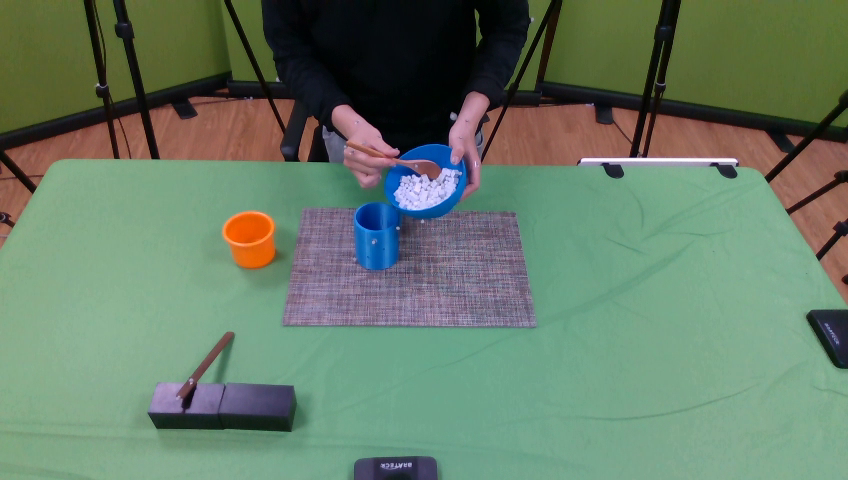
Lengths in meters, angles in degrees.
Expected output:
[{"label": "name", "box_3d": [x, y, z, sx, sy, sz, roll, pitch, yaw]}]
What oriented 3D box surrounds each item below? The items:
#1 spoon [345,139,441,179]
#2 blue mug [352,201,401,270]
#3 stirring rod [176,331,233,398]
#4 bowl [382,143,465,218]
[{"label": "spoon", "box_3d": [-0.051, -0.142, 1.053, 0.194, 0.041, 0.021, 13, 54, -36]}, {"label": "blue mug", "box_3d": [-0.082, -0.017, 1.144, 0.082, 0.106, 0.116, 30, 51, 22]}, {"label": "stirring rod", "box_3d": [-0.342, 0.192, 0.955, 0.014, 0.006, 0.175, 3, 24, 7]}, {"label": "bowl", "box_3d": [0.009, -0.091, 1.083, 0.151, 0.077, 0.150, -10, 55, 15]}]
